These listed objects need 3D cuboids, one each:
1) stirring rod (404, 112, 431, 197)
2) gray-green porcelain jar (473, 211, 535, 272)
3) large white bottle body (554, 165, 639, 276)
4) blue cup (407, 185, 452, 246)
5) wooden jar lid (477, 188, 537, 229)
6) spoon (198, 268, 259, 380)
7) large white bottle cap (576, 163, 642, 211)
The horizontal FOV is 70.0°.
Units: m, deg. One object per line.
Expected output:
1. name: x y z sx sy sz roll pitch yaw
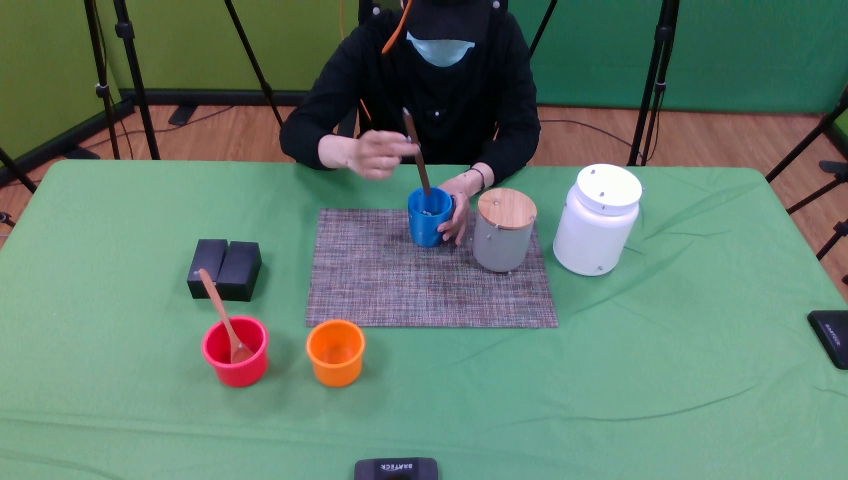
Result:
1. stirring rod: -0.011 -0.149 1.078 0.014 0.177 0.006 -28 42 -15
2. gray-green porcelain jar: 0.147 -0.010 1.139 0.106 0.127 0.105 2 46 -2
3. large white bottle body: 0.326 -0.037 1.141 0.131 0.185 0.130 2 46 -2
4. blue cup: 0.007 -0.041 1.176 0.093 0.101 0.092 2 48 -2
5. wooden jar lid: 0.149 -0.054 1.094 0.108 0.021 0.107 4 45 -4
6. spoon: -0.313 0.133 0.962 0.041 0.021 0.194 -24 96 -19
7. large white bottle cap: 0.330 -0.096 1.080 0.115 0.018 0.114 2 46 -2
